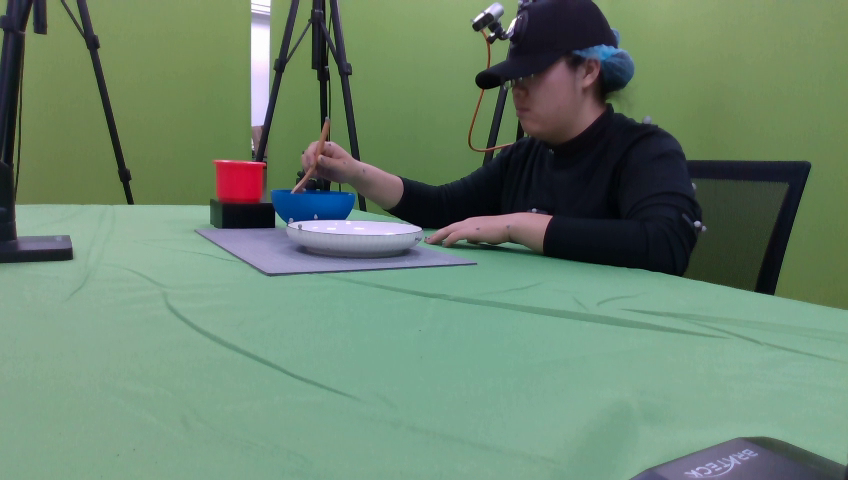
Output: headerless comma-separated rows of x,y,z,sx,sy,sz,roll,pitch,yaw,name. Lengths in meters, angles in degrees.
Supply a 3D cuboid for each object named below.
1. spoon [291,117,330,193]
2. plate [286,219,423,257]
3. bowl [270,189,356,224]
-0.205,-0.130,1.088,0.021,0.193,0.042,23,-3,18,spoon
-0.105,-0.003,0.922,0.208,0.039,0.207,3,7,0,plate
-0.198,-0.048,1.080,0.151,0.077,0.151,3,7,0,bowl
